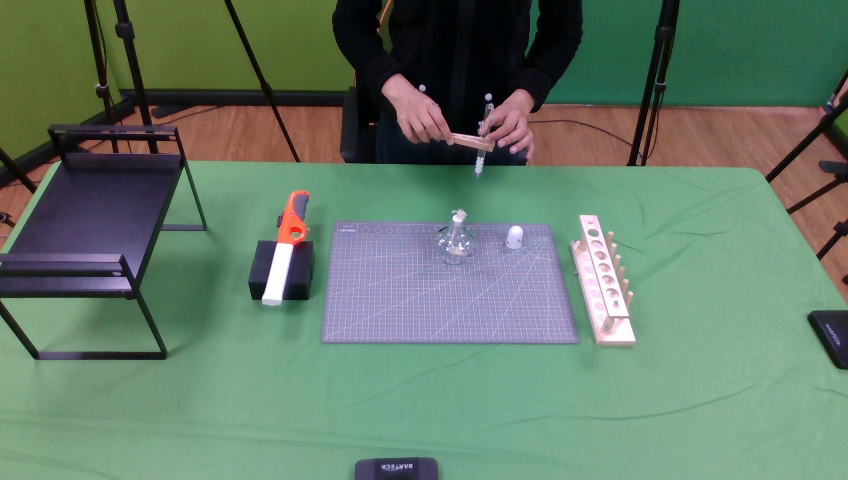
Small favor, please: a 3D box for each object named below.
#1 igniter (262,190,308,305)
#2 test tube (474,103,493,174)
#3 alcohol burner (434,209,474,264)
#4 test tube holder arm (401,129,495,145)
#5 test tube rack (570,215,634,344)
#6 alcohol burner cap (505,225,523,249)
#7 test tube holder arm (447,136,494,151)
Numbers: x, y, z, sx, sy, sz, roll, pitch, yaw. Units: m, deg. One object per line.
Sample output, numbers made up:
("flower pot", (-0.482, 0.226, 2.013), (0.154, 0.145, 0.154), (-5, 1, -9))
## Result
("igniter", (-0.252, 0.004, 1.107), (0.057, 0.025, 0.275), (7, 47, -6))
("test tube", (0.110, -0.187, 1.133), (0.017, 0.151, 0.017), (4, 42, -3))
("alcohol burner", (0.058, -0.012, 1.147), (0.078, 0.119, 0.077), (3, 44, -3))
("test tube holder arm", (0.044, -0.194, 1.148), (0.178, 0.015, 0.013), (7, 47, 5))
("test tube rack", (0.334, 0.067, 1.116), (0.067, 0.085, 0.241), (1, 46, -3))
("alcohol burner cap", (0.180, -0.009, 1.203), (0.034, 0.048, 0.033), (2, 47, -2))
("test tube holder arm", (0.087, -0.183, 1.138), (0.087, 0.015, 0.010), (14, 49, 12))
